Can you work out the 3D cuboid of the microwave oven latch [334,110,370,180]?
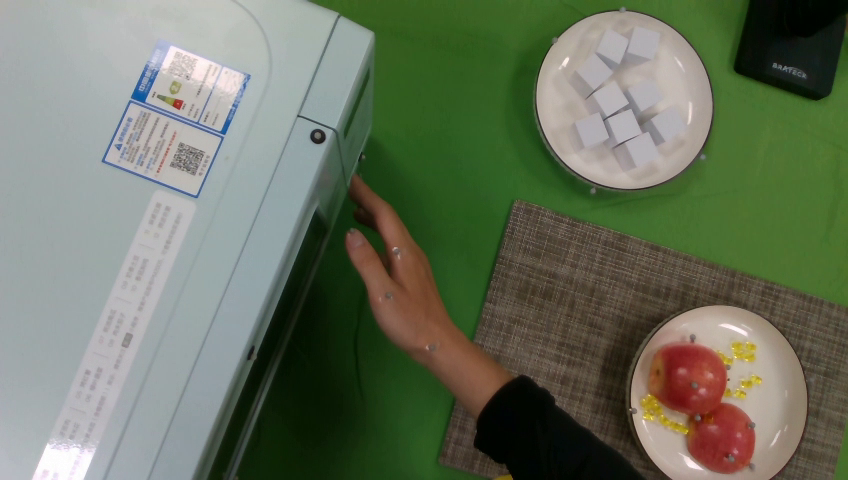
[{"bbox_3d":[-0.082,-0.104,0.637,0.030,0.029,0.079,23,84,-4],"label":"microwave oven latch"}]

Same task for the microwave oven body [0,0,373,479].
[{"bbox_3d":[-0.273,-0.001,0.512,0.326,0.260,0.441,21,84,-4],"label":"microwave oven body"}]

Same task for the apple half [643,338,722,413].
[{"bbox_3d":[0.284,0.147,0.657,0.075,0.053,0.080,16,85,-2],"label":"apple half"}]

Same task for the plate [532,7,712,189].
[{"bbox_3d":[0.222,-0.158,0.694,0.208,0.039,0.207,1,85,-6],"label":"plate"}]

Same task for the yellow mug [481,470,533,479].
[{"bbox_3d":[0.084,0.314,0.628,0.100,0.064,0.130,30,86,-4],"label":"yellow mug"}]

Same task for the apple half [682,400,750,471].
[{"bbox_3d":[0.326,0.216,0.666,0.081,0.033,0.081,1,82,-6],"label":"apple half"}]

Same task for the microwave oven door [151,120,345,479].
[{"bbox_3d":[-0.151,0.091,0.514,0.039,0.244,0.355,21,84,-3],"label":"microwave oven door"}]

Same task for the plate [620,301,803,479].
[{"bbox_3d":[0.314,0.171,0.675,0.209,0.038,0.208,0,86,-6],"label":"plate"}]
